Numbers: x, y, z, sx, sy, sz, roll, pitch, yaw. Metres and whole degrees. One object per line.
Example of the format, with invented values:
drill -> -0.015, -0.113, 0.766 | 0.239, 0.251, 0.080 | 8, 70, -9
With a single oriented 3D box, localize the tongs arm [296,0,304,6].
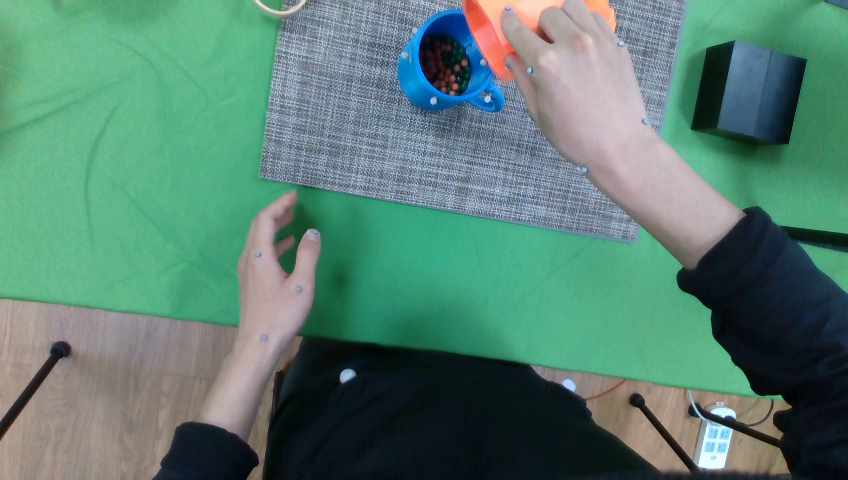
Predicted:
tongs arm -> -0.158, -0.423, 0.561 | 0.028, 0.027, 0.389 | -18, 108, -17

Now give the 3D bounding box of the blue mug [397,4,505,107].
blue mug -> 0.033, -0.175, 0.618 | 0.117, 0.105, 0.082 | 35, 90, -14

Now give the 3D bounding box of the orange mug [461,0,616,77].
orange mug -> 0.098, -0.191, 0.510 | 0.101, 0.124, 0.084 | -27, 136, 3

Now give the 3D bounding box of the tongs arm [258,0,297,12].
tongs arm -> -0.233, -0.388, 0.548 | 0.051, 0.026, 0.387 | -31, 110, -9
